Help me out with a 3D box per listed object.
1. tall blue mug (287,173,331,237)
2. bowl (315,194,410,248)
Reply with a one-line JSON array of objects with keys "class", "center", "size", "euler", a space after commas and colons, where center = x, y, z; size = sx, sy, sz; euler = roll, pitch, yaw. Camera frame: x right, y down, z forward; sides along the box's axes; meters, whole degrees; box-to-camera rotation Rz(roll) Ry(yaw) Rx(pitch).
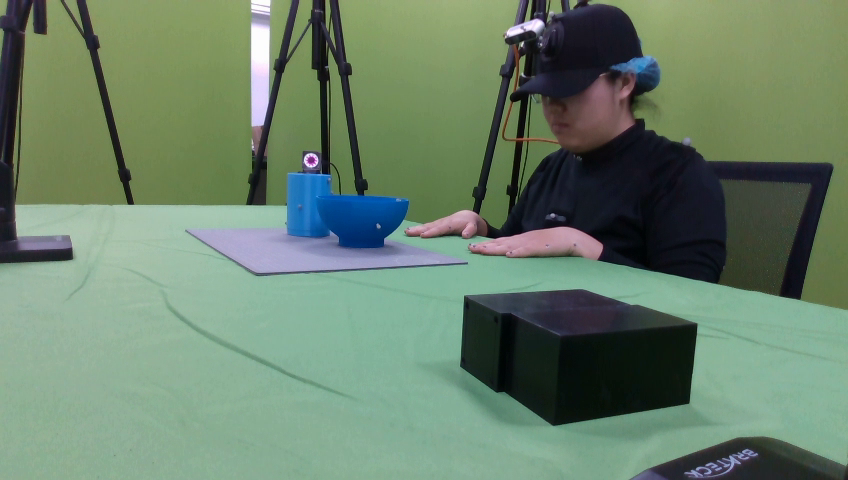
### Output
[{"class": "tall blue mug", "center": [-0.207, -0.066, 1.088], "size": [0.078, 0.108, 0.107], "euler": [0, 8, -12]}, {"class": "bowl", "center": [-0.100, -0.030, 0.971], "size": [0.151, 0.077, 0.151], "euler": [2, 7, 0]}]
